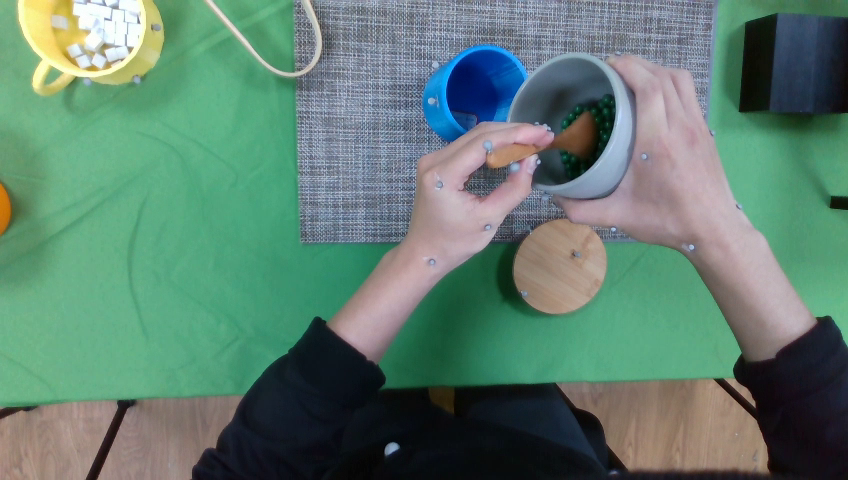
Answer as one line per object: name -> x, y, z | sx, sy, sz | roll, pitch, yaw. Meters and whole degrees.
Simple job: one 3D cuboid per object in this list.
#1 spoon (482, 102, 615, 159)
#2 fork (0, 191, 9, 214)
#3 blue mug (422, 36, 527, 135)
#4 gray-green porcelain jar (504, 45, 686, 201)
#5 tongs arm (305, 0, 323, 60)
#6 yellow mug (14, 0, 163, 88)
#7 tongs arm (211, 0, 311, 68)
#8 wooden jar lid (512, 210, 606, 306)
spoon -> 0.106, -0.080, 0.450 | 0.194, 0.021, 0.042 | -18, 129, -38
fork -> -0.455, -0.040, 0.487 | 0.209, 0.018, 0.028 | 5, 101, -55
blue mug -> 0.060, -0.136, 0.583 | 0.117, 0.105, 0.082 | 26, 94, -13
gray-green porcelain jar -> 0.146, -0.089, 0.499 | 0.127, 0.105, 0.106 | 7, 100, -43
tongs arm -> -0.168, -0.350, 0.525 | 0.028, 0.027, 0.390 | -27, 110, -13
yellow mug -> -0.300, -0.185, 0.533 | 0.100, 0.063, 0.131 | 39, 92, -15
tongs arm -> -0.238, -0.303, 0.517 | 0.051, 0.026, 0.387 | -39, 111, -5
wooden jar lid -> 0.148, 0.020, 0.673 | 0.108, 0.020, 0.109 | -2, 104, -9
